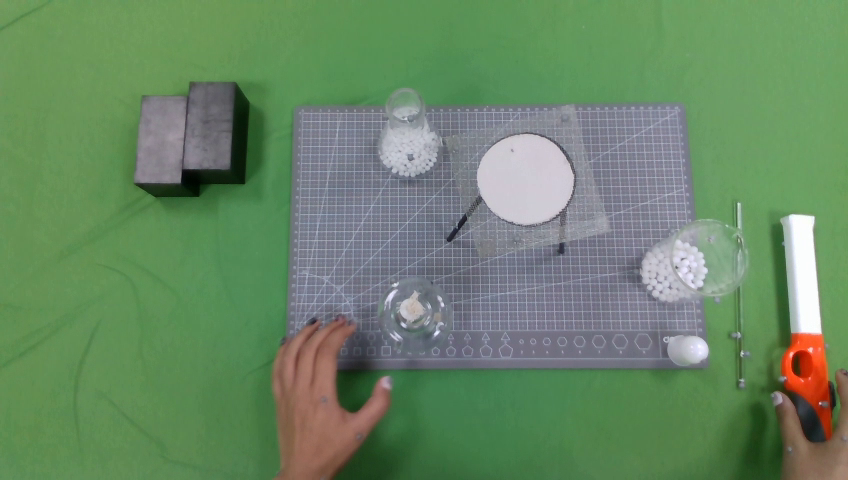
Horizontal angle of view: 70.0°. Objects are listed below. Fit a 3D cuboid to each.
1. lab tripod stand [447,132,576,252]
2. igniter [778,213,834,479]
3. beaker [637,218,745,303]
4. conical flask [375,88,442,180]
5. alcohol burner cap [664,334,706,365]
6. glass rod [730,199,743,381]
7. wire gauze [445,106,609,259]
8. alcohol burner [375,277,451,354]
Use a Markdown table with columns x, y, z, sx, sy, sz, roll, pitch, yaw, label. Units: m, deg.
| x | y | z | sx | sy | sz | roll | pitch | yaw | label |
| --- | --- | --- | --- | --- | --- | --- | --- | --- | --- |
| 0.091 | -0.041 | 0.612 | 0.148 | 0.132 | 0.148 | 0 | 80 | 1 | lab tripod stand |
| 0.400 | 0.108 | 0.638 | 0.057 | 0.025 | 0.275 | 4 | 79 | -9 | igniter |
| 0.267 | 0.024 | 0.616 | 0.084 | 0.100 | 0.073 | -37 | 81 | -7 | beaker |
| -0.019 | -0.115 | 0.632 | 0.075 | 0.122 | 0.075 | 0 | 78 | 1 | conical flask |
| 0.274 | 0.112 | 0.627 | 0.034 | 0.048 | 0.033 | 0 | 77 | 0 | alcohol burner cap |
| 0.340 | 0.051 | 0.659 | 0.008 | 0.008 | 0.199 | 4 | 79 | 1 | glass rod |
| 0.092 | -0.052 | 0.545 | 0.125 | 0.011 | 0.121 | -13 | 79 | -2 | wire gauze |
| -0.012 | 0.072 | 0.600 | 0.078 | 0.119 | 0.077 | 0 | 77 | 2 | alcohol burner |
